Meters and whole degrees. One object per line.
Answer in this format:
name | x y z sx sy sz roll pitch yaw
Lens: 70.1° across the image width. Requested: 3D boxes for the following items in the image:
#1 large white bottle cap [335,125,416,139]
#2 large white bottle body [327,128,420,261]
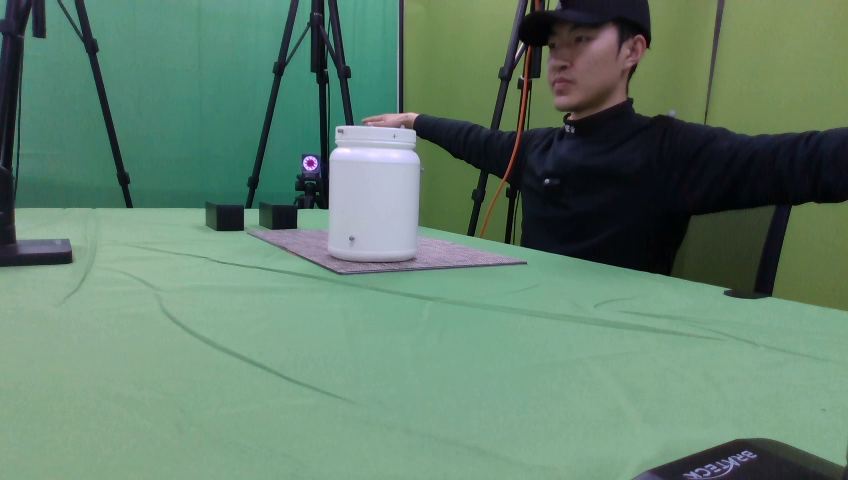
large white bottle cap | -0.069 -0.152 0.859 0.115 0.018 0.115 2 8 0
large white bottle body | -0.072 -0.069 0.870 0.131 0.184 0.130 2 8 0
